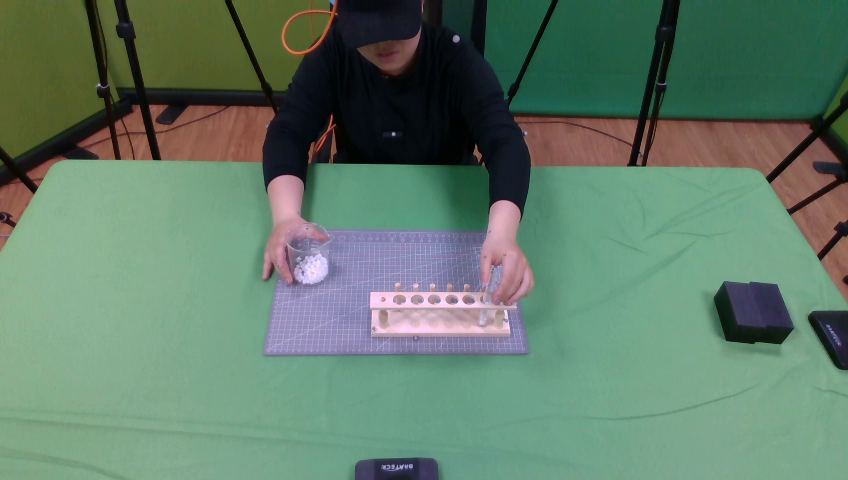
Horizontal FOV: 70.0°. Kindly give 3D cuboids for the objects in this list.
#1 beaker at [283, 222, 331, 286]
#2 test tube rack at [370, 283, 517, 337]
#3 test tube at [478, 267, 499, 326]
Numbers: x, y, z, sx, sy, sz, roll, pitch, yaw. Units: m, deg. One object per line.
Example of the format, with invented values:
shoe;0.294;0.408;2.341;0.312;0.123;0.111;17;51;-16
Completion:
beaker;-0.208;0.028;1.098;0.084;0.101;0.073;2;46;-4
test tube rack;0.030;0.116;1.041;0.242;0.085;0.066;1;47;-4
test tube;0.105;0.097;0.997;0.017;0.151;0.017;2;49;-2
